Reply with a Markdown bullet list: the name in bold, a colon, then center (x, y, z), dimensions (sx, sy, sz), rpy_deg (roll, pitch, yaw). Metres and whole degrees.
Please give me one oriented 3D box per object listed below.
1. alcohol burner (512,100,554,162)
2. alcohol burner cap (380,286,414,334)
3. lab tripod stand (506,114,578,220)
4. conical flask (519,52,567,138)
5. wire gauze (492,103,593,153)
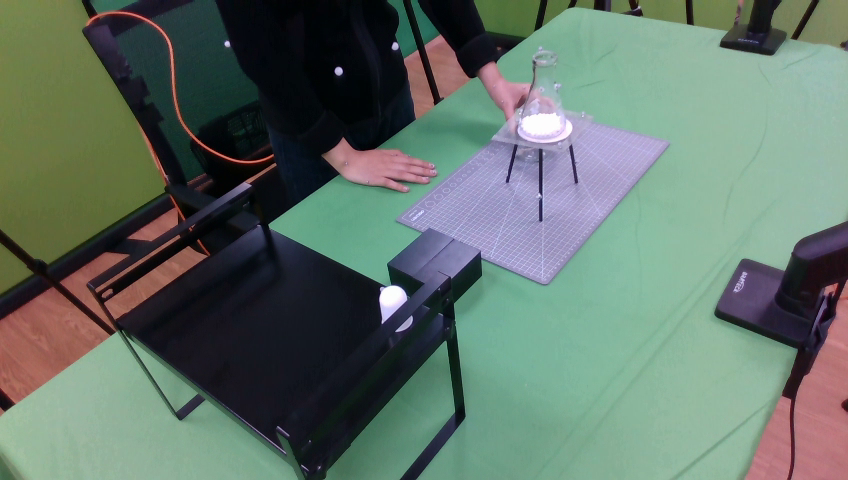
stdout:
- **alcohol burner**: center (0.199, -0.205, 1.113), dimensions (0.078, 0.119, 0.077), rpy_deg (-5, 41, 5)
- **alcohol burner cap**: center (-0.029, 0.068, 0.605), dimensions (0.034, 0.048, 0.033), rpy_deg (-5, 39, 4)
- **lab tripod stand**: center (0.198, -0.128, 1.005), dimensions (0.148, 0.132, 0.147), rpy_deg (-3, 42, 4)
- **conical flask**: center (0.183, -0.223, 0.926), dimensions (0.075, 0.122, 0.075), rpy_deg (-4, 41, 4)
- **wire gauze**: center (0.190, -0.179, 0.965), dimensions (0.120, 0.011, 0.125), rpy_deg (17, 49, 29)
